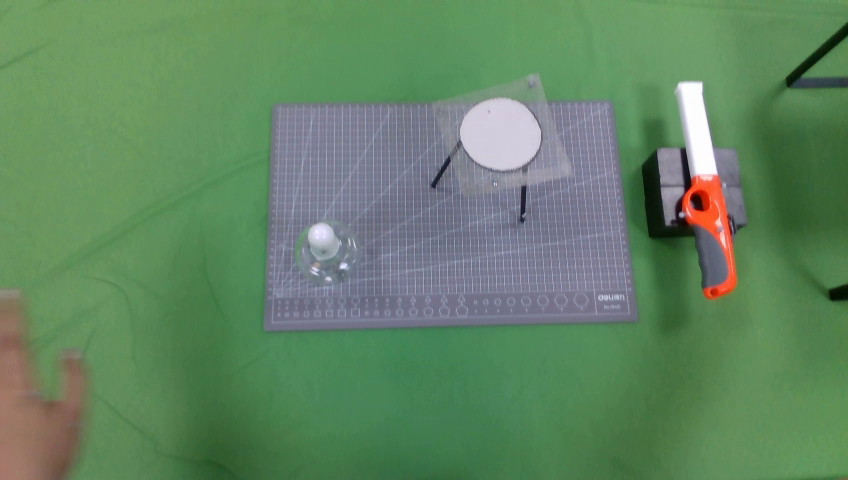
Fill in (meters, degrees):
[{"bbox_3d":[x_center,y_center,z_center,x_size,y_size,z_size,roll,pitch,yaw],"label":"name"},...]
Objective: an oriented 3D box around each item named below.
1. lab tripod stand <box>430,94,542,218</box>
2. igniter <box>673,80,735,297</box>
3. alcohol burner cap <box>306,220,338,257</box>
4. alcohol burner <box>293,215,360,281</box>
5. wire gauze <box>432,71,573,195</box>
[{"bbox_3d":[0.081,-0.104,0.712,0.148,0.132,0.147,0,73,-1],"label":"lab tripod stand"},{"bbox_3d":[0.332,-0.067,0.723,0.057,0.025,0.275,-1,73,0],"label":"igniter"},{"bbox_3d":[-0.112,-0.004,0.651,0.034,0.048,0.033,0,70,-1],"label":"alcohol burner cap"},{"bbox_3d":[-0.112,0.005,0.686,0.078,0.119,0.077,1,77,-3],"label":"alcohol burner"},{"bbox_3d":[0.083,-0.115,0.646,0.125,0.011,0.121,-14,76,-6],"label":"wire gauze"}]
